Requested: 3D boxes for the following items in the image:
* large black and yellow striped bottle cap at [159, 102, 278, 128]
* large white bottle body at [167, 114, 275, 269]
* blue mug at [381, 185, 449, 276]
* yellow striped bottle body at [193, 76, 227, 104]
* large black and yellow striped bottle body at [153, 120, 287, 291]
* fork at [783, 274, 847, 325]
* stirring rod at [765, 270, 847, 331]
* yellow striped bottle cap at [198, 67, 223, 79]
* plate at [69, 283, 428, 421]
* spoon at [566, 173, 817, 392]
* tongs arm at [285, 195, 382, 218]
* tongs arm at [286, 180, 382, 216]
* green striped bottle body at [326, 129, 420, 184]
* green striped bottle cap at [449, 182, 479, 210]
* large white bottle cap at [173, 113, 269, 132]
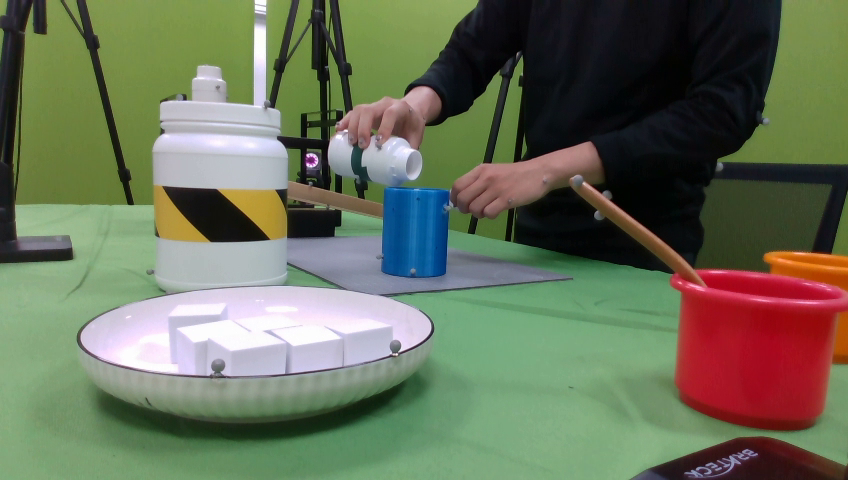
[{"bbox_3d":[-0.207,-0.125,0.615,0.115,0.019,0.115,2,6,0],"label":"large black and yellow striped bottle cap"},{"bbox_3d":[-0.257,-0.063,0.771,0.131,0.184,0.130,2,7,0],"label":"large white bottle body"},{"bbox_3d":[-0.018,-0.016,0.764,0.083,0.106,0.116,-2,8,-24],"label":"blue mug"},{"bbox_3d":[-0.414,-0.268,1.169,0.063,0.120,0.063,2,7,0],"label":"yellow striped bottle body"},{"bbox_3d":[-0.208,-0.042,0.626,0.131,0.184,0.130,2,7,0],"label":"large black and yellow striped bottle body"},{"bbox_3d":[0.332,0.018,0.443,0.028,0.018,0.207,-1,-36,-15],"label":"fork"},{"bbox_3d":[0.352,0.020,0.484,0.176,0.006,0.014,-40,-7,12],"label":"stirring rod"},{"bbox_3d":[-0.411,-0.320,1.163,0.044,0.018,0.044,-1,6,0],"label":"yellow striped bottle cap"},{"bbox_3d":[-0.102,0.066,0.381,0.208,0.039,0.207,2,7,0],"label":"plate"},{"bbox_3d":[0.161,0.024,0.370,0.193,0.021,0.042,47,17,3],"label":"spoon"},{"bbox_3d":[-0.165,-0.074,1.216,0.389,0.027,0.028,11,-6,-24],"label":"tongs arm"},{"bbox_3d":[-0.122,-0.066,1.147,0.387,0.026,0.050,11,-2,-37],"label":"tongs arm"},{"bbox_3d":[-0.064,-0.108,0.787,0.119,0.063,0.063,12,12,31],"label":"green striped bottle body"},{"bbox_3d":[0.057,-0.064,0.872,0.044,0.020,0.044,8,41,-7],"label":"green striped bottle cap"},{"bbox_3d":[-0.254,-0.146,0.760,0.115,0.018,0.115,1,7,0],"label":"large white bottle cap"}]
